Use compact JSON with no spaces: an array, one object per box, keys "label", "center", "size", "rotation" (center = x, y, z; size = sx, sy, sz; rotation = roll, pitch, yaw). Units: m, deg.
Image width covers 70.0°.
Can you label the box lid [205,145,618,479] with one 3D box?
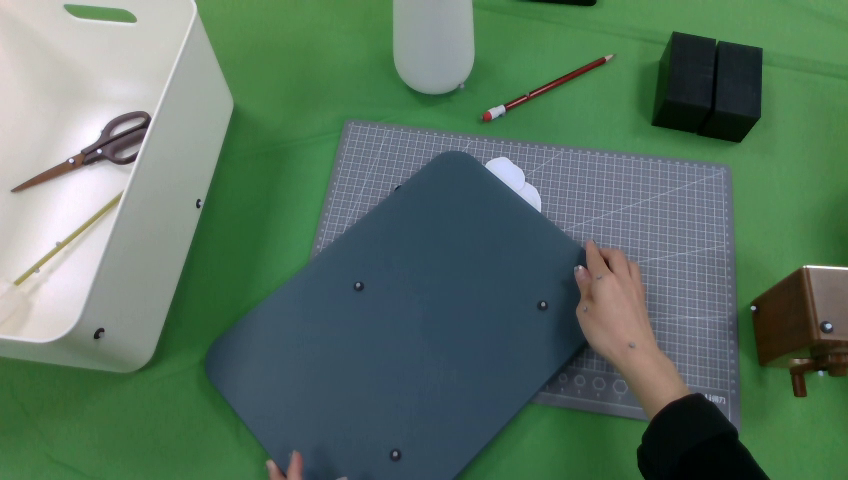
[{"label":"box lid","center":[-0.008,0.080,0.616],"size":[0.371,0.015,0.261],"rotation":[-42,71,-16]}]

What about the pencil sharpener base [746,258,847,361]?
[{"label":"pencil sharpener base","center":[0.359,0.072,0.567],"size":[0.061,0.108,0.076],"rotation":[4,67,3]}]

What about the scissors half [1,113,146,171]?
[{"label":"scissors half","center":[-0.398,-0.107,0.694],"size":[0.175,0.040,0.012],"rotation":[-20,30,-2]}]

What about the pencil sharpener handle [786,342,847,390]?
[{"label":"pencil sharpener handle","center":[0.351,0.113,0.536],"size":[0.036,0.068,0.030],"rotation":[9,67,-10]}]

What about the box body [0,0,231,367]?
[{"label":"box body","center":[-0.370,-0.068,0.610],"size":[0.254,0.161,0.361],"rotation":[6,67,4]}]

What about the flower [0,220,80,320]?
[{"label":"flower","center":[-0.372,-0.040,0.692],"size":[0.038,0.044,0.359],"rotation":[2,43,29]}]

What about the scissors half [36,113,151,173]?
[{"label":"scissors half","center":[-0.392,-0.095,0.701],"size":[0.175,0.040,0.012],"rotation":[-25,24,2]}]

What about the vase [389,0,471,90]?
[{"label":"vase","center":[0.005,-0.258,0.665],"size":[0.098,0.201,0.097],"rotation":[-1,65,2]}]

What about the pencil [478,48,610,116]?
[{"label":"pencil","center":[0.149,-0.195,0.738],"size":[0.194,0.012,0.012],"rotation":[-28,69,-12]}]
